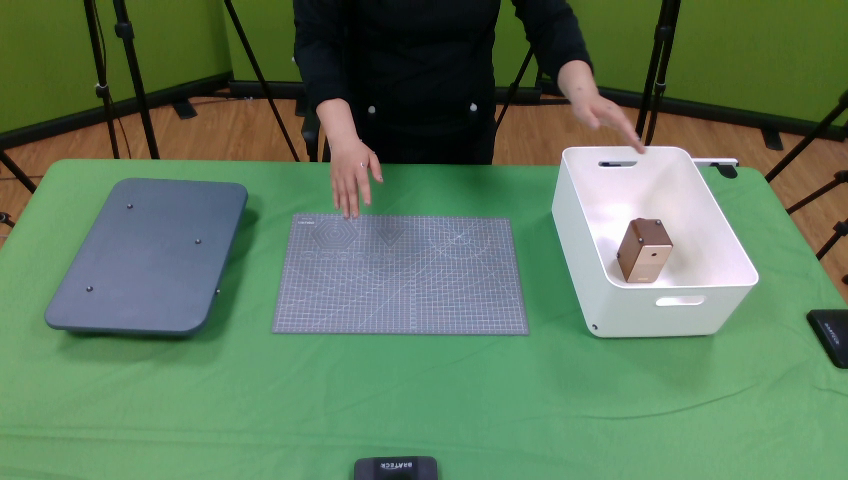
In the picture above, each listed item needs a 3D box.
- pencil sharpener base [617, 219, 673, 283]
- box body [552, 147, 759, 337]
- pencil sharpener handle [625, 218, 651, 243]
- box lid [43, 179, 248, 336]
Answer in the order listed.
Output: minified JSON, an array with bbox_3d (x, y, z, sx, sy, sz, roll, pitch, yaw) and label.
[{"bbox_3d":[0.412,0.020,1.140,0.061,0.107,0.076,-1,45,-4],"label":"pencil sharpener base"},{"bbox_3d":[0.400,-0.001,1.131,0.254,0.161,0.361,-1,46,-5],"label":"box body"},{"bbox_3d":[0.407,-0.025,1.167,0.036,0.068,0.030,6,44,-11],"label":"pencil sharpener handle"},{"bbox_3d":[-0.484,0.017,1.093,0.263,0.015,0.369,2,46,-2],"label":"box lid"}]
